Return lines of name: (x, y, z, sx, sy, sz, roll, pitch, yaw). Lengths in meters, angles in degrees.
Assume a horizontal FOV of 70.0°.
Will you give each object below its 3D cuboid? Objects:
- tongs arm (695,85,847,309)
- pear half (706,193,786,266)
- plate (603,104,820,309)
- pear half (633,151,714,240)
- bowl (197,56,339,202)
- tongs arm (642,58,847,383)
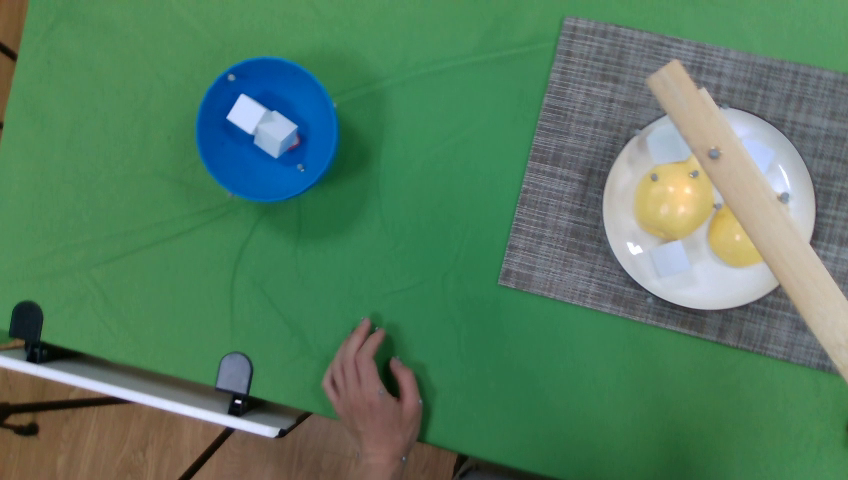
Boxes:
tongs arm: (0.303, 0.037, 0.467, 0.026, 0.051, 0.382, -34, 74, 28)
pear half: (0.333, -0.014, 0.614, 0.088, 0.031, 0.070, -45, 89, 11)
plate: (0.289, -0.034, 0.624, 0.207, 0.039, 0.207, 0, 90, 7)
pear half: (0.261, -0.057, 0.614, 0.076, 0.056, 0.110, 24, 89, 3)
bowl: (-0.158, -0.114, 0.660, 0.151, 0.077, 0.151, 0, 90, 6)
tongs arm: (0.263, 0.043, 0.402, 0.028, 0.028, 0.387, -35, 86, 24)
